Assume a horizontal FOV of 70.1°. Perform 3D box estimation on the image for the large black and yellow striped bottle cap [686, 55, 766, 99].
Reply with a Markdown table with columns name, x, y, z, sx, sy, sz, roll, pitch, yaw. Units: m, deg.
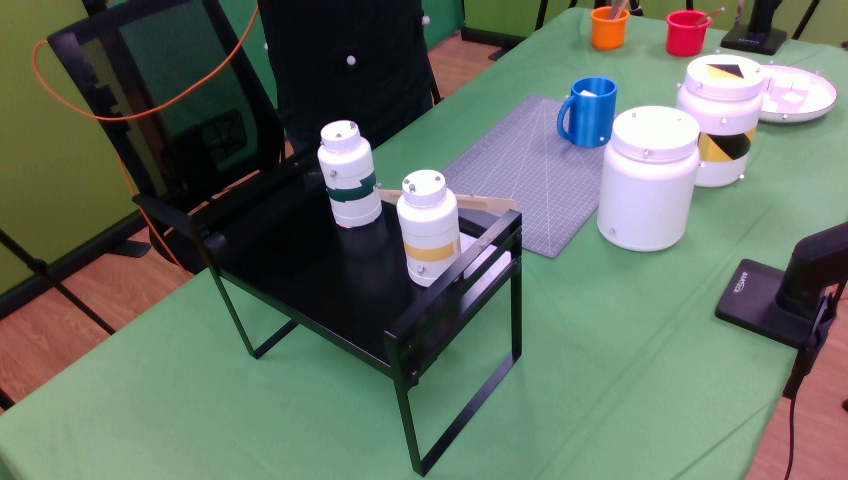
| name | x | y | z | sx | sy | sz | roll | pitch | yaw |
| --- | --- | --- | --- | --- | --- | --- | --- | --- | --- |
| large black and yellow striped bottle cap | 0.474 | -0.258 | 0.952 | 0.115 | 0.019 | 0.114 | -5 | 41 | 5 |

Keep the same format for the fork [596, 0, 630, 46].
| name | x | y | z | sx | sy | sz | roll | pitch | yaw |
| --- | --- | --- | --- | --- | --- | --- | --- | --- | --- |
| fork | 0.480 | -0.555 | 1.452 | 0.028 | 0.019 | 0.207 | 40 | 103 | 40 |

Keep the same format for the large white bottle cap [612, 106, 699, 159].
| name | x | y | z | sx | sy | sz | roll | pitch | yaw |
| --- | --- | --- | --- | --- | --- | --- | --- | --- | --- |
| large white bottle cap | 0.325 | -0.153 | 0.850 | 0.115 | 0.018 | 0.114 | -4 | 41 | 4 |

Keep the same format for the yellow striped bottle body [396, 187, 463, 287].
| name | x | y | z | sx | sy | sz | roll | pitch | yaw |
| --- | --- | --- | --- | --- | --- | --- | --- | --- | --- |
| yellow striped bottle body | 0.006 | -0.013 | 0.638 | 0.063 | 0.121 | 0.062 | -5 | 41 | 5 |

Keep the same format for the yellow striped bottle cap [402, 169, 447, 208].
| name | x | y | z | sx | sy | sz | roll | pitch | yaw |
| --- | --- | --- | --- | --- | --- | --- | --- | --- | --- |
| yellow striped bottle cap | 0.000 | -0.052 | 0.604 | 0.044 | 0.019 | 0.044 | -5 | 43 | 5 |

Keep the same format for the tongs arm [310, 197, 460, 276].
| name | x | y | z | sx | sy | sz | roll | pitch | yaw |
| --- | --- | --- | --- | --- | --- | --- | --- | --- | --- |
| tongs arm | -0.078 | -0.012 | 0.943 | 0.028 | 0.028 | 0.384 | -43 | 39 | -23 |

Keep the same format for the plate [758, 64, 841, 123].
| name | x | y | z | sx | sy | sz | roll | pitch | yaw |
| --- | --- | --- | --- | --- | --- | --- | --- | --- | --- |
| plate | 0.694 | -0.283 | 1.189 | 0.207 | 0.039 | 0.206 | -4 | 40 | 4 |

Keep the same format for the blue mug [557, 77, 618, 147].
| name | x | y | z | sx | sy | sz | roll | pitch | yaw |
| --- | --- | --- | --- | --- | --- | --- | --- | --- | --- |
| blue mug | 0.303 | -0.237 | 1.139 | 0.117 | 0.106 | 0.081 | -19 | 42 | -13 |

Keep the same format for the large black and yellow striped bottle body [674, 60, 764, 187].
| name | x | y | z | sx | sy | sz | roll | pitch | yaw |
| --- | --- | --- | --- | --- | --- | --- | --- | --- | --- |
| large black and yellow striped bottle body | 0.482 | -0.196 | 1.008 | 0.131 | 0.185 | 0.130 | -4 | 41 | 4 |

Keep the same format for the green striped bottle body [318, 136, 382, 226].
| name | x | y | z | sx | sy | sz | roll | pitch | yaw |
| --- | --- | --- | --- | --- | --- | --- | --- | --- | --- |
| green striped bottle body | -0.090 | -0.080 | 0.733 | 0.063 | 0.120 | 0.063 | -4 | 41 | 4 |

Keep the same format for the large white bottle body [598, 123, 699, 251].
| name | x | y | z | sx | sy | sz | roll | pitch | yaw |
| --- | --- | --- | --- | --- | --- | --- | --- | --- | --- |
| large white bottle body | 0.334 | -0.090 | 0.906 | 0.130 | 0.185 | 0.130 | -5 | 41 | 5 |

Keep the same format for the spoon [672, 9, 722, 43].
| name | x | y | z | sx | sy | sz | roll | pitch | yaw |
| --- | --- | --- | --- | --- | --- | --- | --- | --- | --- |
| spoon | 0.606 | -0.476 | 1.345 | 0.042 | 0.021 | 0.193 | -6 | -3 | -2 |

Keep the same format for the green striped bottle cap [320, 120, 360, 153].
| name | x | y | z | sx | sy | sz | roll | pitch | yaw |
| --- | --- | --- | --- | --- | --- | --- | --- | --- | --- |
| green striped bottle cap | -0.097 | -0.120 | 0.699 | 0.044 | 0.020 | 0.044 | -3 | 40 | 3 |

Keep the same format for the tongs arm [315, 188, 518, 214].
| name | x | y | z | sx | sy | sz | roll | pitch | yaw |
| --- | --- | --- | --- | --- | --- | --- | --- | --- | --- |
| tongs arm | -0.028 | -0.060 | 0.988 | 0.382 | 0.027 | 0.051 | 9 | 44 | 36 |

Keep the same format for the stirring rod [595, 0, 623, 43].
| name | x | y | z | sx | sy | sz | roll | pitch | yaw |
| --- | --- | --- | --- | --- | --- | --- | --- | --- | --- |
| stirring rod | 0.460 | -0.556 | 1.459 | 0.014 | 0.006 | 0.176 | 29 | 93 | 22 |
